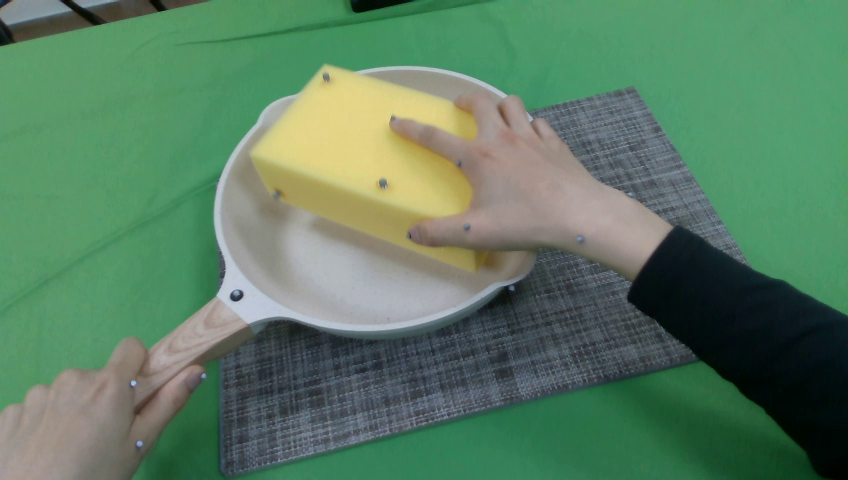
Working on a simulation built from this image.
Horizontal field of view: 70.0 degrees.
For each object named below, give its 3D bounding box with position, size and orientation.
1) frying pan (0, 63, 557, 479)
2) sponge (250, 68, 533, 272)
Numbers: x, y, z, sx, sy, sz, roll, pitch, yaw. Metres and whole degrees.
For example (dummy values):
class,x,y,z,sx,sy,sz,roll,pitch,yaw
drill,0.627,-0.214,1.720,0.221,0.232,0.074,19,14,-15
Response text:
class,x,y,z,sx,sy,sz,roll,pitch,yaw
frying pan,-0.103,0.018,0.491,0.304,0.103,0.487,35,57,27
sponge,-0.026,-0.066,0.521,0.205,0.061,0.117,20,61,20
